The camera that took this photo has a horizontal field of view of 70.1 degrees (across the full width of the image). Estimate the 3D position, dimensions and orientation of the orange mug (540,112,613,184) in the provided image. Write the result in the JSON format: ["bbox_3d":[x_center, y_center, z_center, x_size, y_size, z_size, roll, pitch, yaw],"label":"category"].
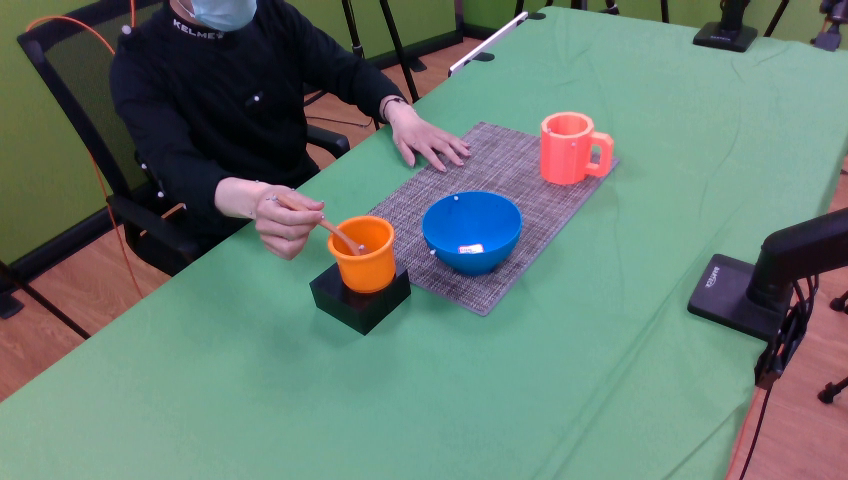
[{"bbox_3d":[0.263,-0.157,1.050,0.125,0.101,0.083,14,45,29],"label":"orange mug"}]

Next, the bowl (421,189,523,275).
[{"bbox_3d":[0.073,-0.001,0.910,0.151,0.077,0.150,-4,41,4],"label":"bowl"}]

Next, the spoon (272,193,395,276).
[{"bbox_3d":[-0.120,-0.009,0.820,0.021,0.195,0.041,-39,22,33],"label":"spoon"}]
